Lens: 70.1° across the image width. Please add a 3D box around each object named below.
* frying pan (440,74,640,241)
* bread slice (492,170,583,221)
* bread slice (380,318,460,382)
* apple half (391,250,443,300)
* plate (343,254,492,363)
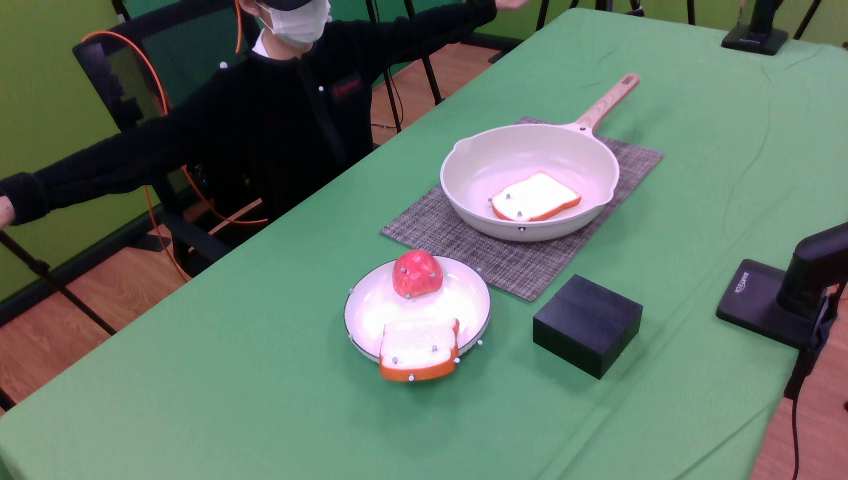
[{"bbox_3d":[0.245,-0.161,1.058,0.304,0.103,0.489,30,61,35],"label":"frying pan"},{"bbox_3d":[0.183,-0.066,1.015,0.135,0.018,0.106,-28,43,-23],"label":"bread slice"},{"bbox_3d":[-0.005,0.137,0.770,0.105,0.019,0.131,-6,19,4],"label":"bread slice"},{"bbox_3d":[-0.013,0.046,0.883,0.081,0.033,0.081,0,65,1],"label":"apple half"},{"bbox_3d":[-0.008,0.100,0.847,0.207,0.039,0.206,-4,40,4],"label":"plate"}]
